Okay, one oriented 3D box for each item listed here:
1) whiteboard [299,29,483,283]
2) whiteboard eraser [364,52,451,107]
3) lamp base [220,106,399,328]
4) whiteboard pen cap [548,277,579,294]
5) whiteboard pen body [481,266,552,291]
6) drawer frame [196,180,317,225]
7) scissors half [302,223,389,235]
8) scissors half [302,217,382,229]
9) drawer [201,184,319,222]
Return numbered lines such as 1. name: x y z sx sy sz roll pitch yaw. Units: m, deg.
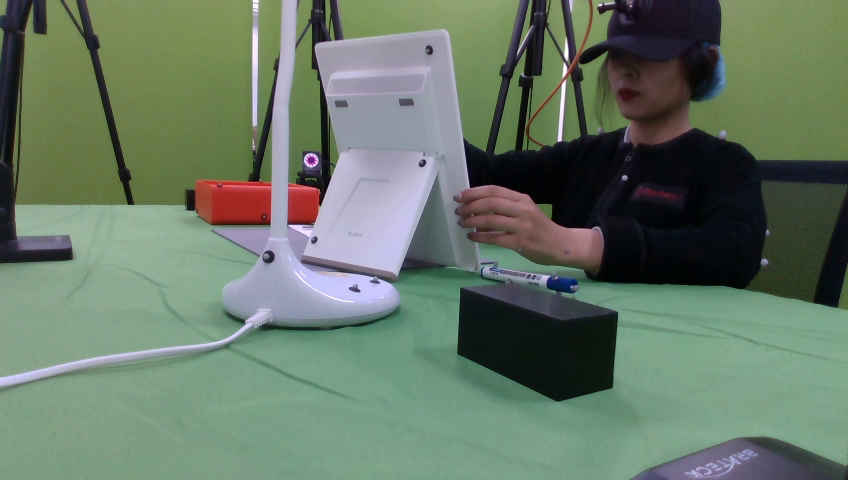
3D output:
1. whiteboard: -0.074 -0.082 0.742 0.216 0.305 0.144 9 29 38
2. whiteboard eraser: -0.024 -0.203 0.776 0.112 0.056 0.042 1 37 35
3. lamp base: -0.102 -0.023 0.531 0.160 0.180 0.179 4 10 10
4. whiteboard pen cap: 0.148 0.049 0.647 0.018 0.018 0.033 -3 3 -36
5. whiteboard pen body: 0.115 0.045 0.695 0.017 0.017 0.140 -3 6 -35
6. drawer frame: -0.359 -0.083 1.292 0.215 0.082 0.200 -2 10 -30
7. scissors half: -0.152 -0.023 1.182 0.176 0.013 0.040 1 25 -21
8. scissors half: -0.161 -0.031 1.198 0.176 0.013 0.040 -8 24 -39
9. drawer: -0.353 -0.082 1.296 0.213 0.073 0.193 -2 10 -28
